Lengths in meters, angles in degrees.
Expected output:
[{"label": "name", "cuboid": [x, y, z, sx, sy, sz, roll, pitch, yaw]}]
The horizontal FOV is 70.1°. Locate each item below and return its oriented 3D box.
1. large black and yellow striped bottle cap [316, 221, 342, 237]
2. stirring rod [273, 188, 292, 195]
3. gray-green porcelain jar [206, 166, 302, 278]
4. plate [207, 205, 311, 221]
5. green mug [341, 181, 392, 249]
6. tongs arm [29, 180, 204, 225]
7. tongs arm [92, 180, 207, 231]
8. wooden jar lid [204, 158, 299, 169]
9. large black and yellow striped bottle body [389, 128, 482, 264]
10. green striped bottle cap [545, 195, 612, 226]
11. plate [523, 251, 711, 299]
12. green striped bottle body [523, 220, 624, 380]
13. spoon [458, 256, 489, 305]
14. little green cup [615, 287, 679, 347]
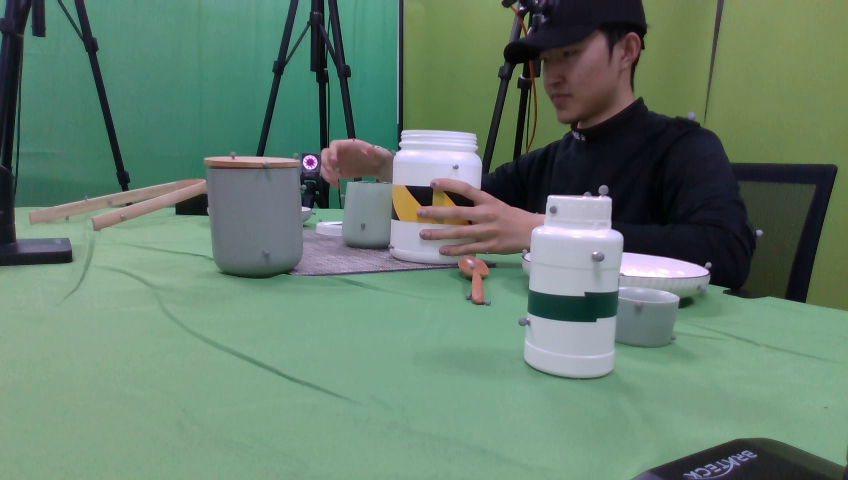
[{"label": "large black and yellow striped bottle cap", "cuboid": [-0.147, -0.022, 1.147, 0.115, 0.019, 0.115, 2, 9, 0]}, {"label": "stirring rod", "cuboid": [-0.353, -0.122, 1.519, 0.006, 0.014, 0.176, 2, 6, 1]}, {"label": "gray-green porcelain jar", "cuboid": [-0.201, -0.024, 0.725, 0.106, 0.126, 0.106, -1, 9, 1]}, {"label": "plate", "cuboid": [-0.342, -0.051, 1.259, 0.208, 0.039, 0.207, 2, 7, 0]}, {"label": "green mug", "cuboid": [-0.090, -0.044, 0.996, 0.093, 0.105, 0.125, 0, 7, -9]}, {"label": "tongs arm", "cuboid": [-0.609, -0.083, 1.245, 0.050, 0.026, 0.386, 5, 16, 23]}, {"label": "tongs arm", "cuboid": [-0.534, -0.076, 1.221, 0.028, 0.028, 0.388, -2, 15, 12]}, {"label": "wooden jar lid", "cuboid": [-0.202, -0.086, 0.714, 0.108, 0.020, 0.108, 3, 11, 0]}, {"label": "large black and yellow striped bottle body", "cuboid": [0.017, -0.065, 0.873, 0.131, 0.184, 0.130, 3, 7, 0]}, {"label": "green striped bottle cap", "cuboid": [0.106, -0.020, 0.414, 0.044, 0.020, 0.044, 2, 4, 0]}, {"label": "plate", "cuboid": [0.219, 0.041, 0.706, 0.209, 0.038, 0.209, 2, 7, 0]}, {"label": "green striped bottle body", "cuboid": [0.104, 0.031, 0.422, 0.063, 0.119, 0.063, 2, 8, 0]}, {"label": "spoon", "cuboid": [0.059, 0.044, 0.695, 0.041, 0.021, 0.194, 18, 7, 1]}, {"label": "little green cup", "cuboid": [0.180, 0.064, 0.506, 0.061, 0.038, 0.061, 2, 8, 0]}]
